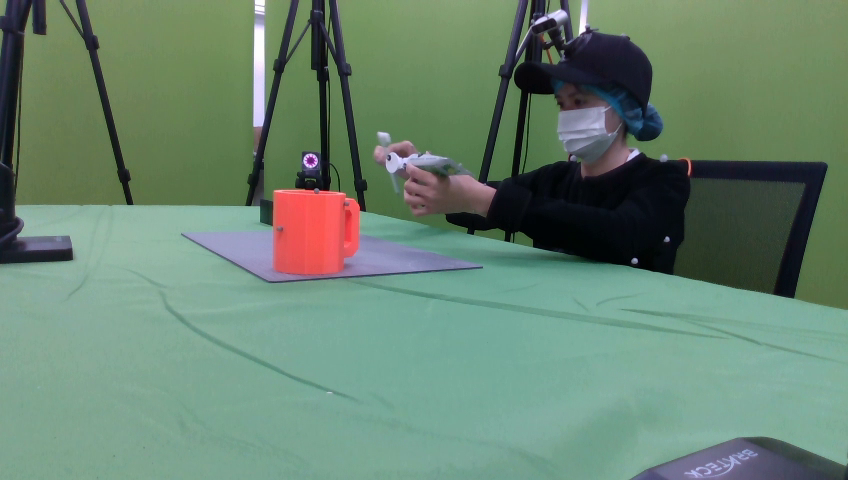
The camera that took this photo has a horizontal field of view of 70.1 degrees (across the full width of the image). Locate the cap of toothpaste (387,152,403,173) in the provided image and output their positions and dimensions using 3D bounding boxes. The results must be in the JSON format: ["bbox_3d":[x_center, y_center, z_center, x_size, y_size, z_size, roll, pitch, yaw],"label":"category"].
[{"bbox_3d":[-0.048,-0.130,1.011,0.011,0.037,0.037,-5,11,-42],"label":"cap of toothpaste"}]

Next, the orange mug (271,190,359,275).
[{"bbox_3d":[-0.131,-0.013,0.754,0.083,0.101,0.127,8,13,38],"label":"orange mug"}]

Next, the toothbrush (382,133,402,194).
[{"bbox_3d":[-0.056,-0.138,1.124,0.016,0.014,0.182,-4,-30,4],"label":"toothbrush"}]

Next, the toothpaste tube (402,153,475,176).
[{"bbox_3d":[0.014,-0.119,0.946,0.055,0.034,0.164,24,-5,-32],"label":"toothpaste tube"}]
